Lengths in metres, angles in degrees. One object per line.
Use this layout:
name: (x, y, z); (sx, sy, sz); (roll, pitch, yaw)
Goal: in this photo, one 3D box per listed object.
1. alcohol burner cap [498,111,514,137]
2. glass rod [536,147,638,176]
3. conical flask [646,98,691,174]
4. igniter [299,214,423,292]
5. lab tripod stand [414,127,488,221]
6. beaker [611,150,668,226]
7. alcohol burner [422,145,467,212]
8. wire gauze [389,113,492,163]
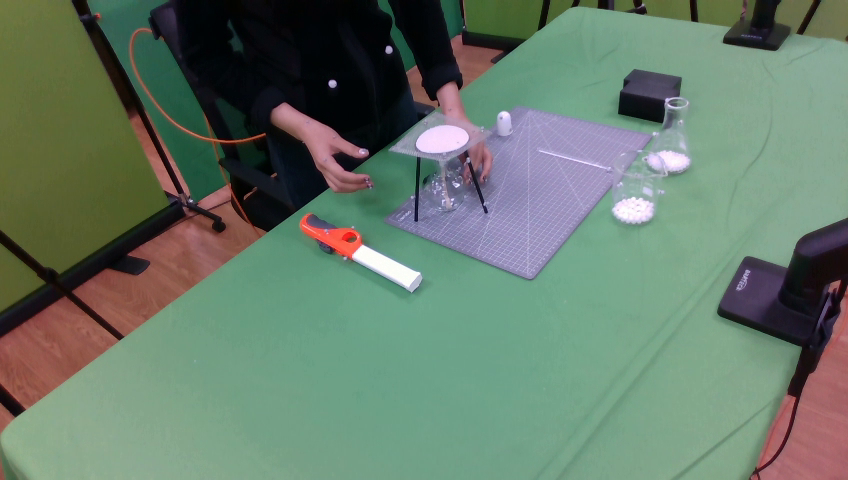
alcohol burner cap: (0.163, -0.235, 1.211); (0.034, 0.048, 0.033); (-6, 40, 6)
glass rod: (0.294, -0.145, 1.104); (0.198, 0.008, 0.008); (21, 49, 31)
conical flask: (0.426, -0.180, 1.037); (0.075, 0.122, 0.075); (-5, 40, 5)
igniter: (-0.113, 0.016, 0.983); (0.274, 0.025, 0.057); (26, 62, 35)
lab tripod stand: (0.035, -0.114, 1.021); (0.148, 0.132, 0.147); (-7, 39, 6)
beaker: (0.337, -0.079, 0.953); (0.083, 0.101, 0.074); (25, 51, 33)
alcohol burner: (0.033, -0.109, 1.031); (0.078, 0.119, 0.077); (-5, 38, 5)
wire gauze: (0.026, -0.164, 0.977); (0.120, 0.011, 0.125); (24, 49, 35)
